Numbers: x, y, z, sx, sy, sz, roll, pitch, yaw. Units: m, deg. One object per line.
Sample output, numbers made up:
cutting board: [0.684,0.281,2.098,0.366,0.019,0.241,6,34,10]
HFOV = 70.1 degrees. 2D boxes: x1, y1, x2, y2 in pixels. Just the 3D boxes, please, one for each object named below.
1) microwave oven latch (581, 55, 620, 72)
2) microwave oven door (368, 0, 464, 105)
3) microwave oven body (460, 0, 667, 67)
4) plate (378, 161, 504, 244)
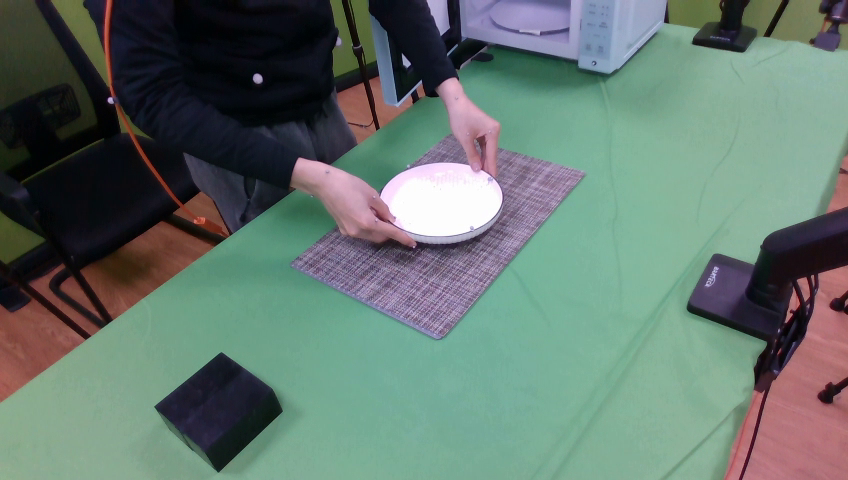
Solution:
microwave oven latch: [0.386,-0.393,1.330,0.078,0.029,0.030,25,51,32]
microwave oven door: [-0.006,-0.495,1.347,0.039,0.245,0.356,14,45,23]
microwave oven body: [0.324,-0.608,1.437,0.438,0.261,0.327,22,50,31]
plate: [0.029,-0.059,1.003,0.209,0.038,0.208,-2,41,2]
